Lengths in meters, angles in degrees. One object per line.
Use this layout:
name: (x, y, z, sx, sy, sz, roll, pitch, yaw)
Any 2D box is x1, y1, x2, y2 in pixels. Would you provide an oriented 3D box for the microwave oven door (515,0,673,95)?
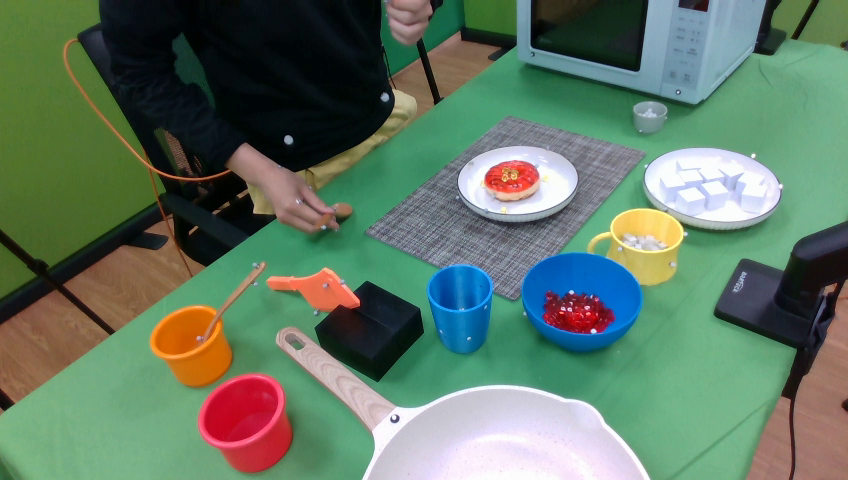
microwave oven door: (0.344, -0.458, 1.256, 0.353, 0.245, 0.039, 26, 51, 33)

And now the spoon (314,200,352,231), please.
spoon: (-0.153, -0.042, 0.985, 0.041, 0.021, 0.193, 10, 12, 3)

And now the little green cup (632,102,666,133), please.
little green cup: (0.434, -0.237, 1.171, 0.061, 0.039, 0.061, -5, 40, 5)

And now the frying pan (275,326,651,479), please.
frying pan: (0.003, 0.229, 0.641, 0.484, 0.103, 0.308, 34, 54, 28)

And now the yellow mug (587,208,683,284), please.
yellow mug: (0.305, 0.009, 0.884, 0.131, 0.064, 0.099, -4, 40, 5)

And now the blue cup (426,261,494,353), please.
blue cup: (0.049, 0.095, 0.792, 0.092, 0.100, 0.092, -3, 42, 3)

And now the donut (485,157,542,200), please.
donut: (0.153, -0.107, 1.039, 0.099, 0.048, 0.098, -6, 38, 5)

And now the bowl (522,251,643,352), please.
bowl: (0.204, 0.093, 0.792, 0.151, 0.077, 0.150, -4, 40, 4)

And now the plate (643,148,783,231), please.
plate: (0.464, -0.079, 0.985, 0.207, 0.039, 0.206, -4, 40, 4)

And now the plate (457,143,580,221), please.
plate: (0.162, -0.097, 1.042, 0.209, 0.038, 0.208, -4, 40, 4)

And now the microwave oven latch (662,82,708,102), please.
microwave oven latch: (0.518, -0.298, 1.203, 0.078, 0.029, 0.030, 28, 53, 35)

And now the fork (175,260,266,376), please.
fork: (-0.268, 0.103, 0.792, 0.207, 0.019, 0.028, -51, 41, 16)

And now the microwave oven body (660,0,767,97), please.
microwave oven body: (0.473, -0.517, 1.313, 0.438, 0.261, 0.327, 26, 51, 34)

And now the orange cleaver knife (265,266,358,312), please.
orange cleaver knife: (-0.164, 0.073, 0.864, 0.210, 0.077, 0.012, -6, 30, 50)
